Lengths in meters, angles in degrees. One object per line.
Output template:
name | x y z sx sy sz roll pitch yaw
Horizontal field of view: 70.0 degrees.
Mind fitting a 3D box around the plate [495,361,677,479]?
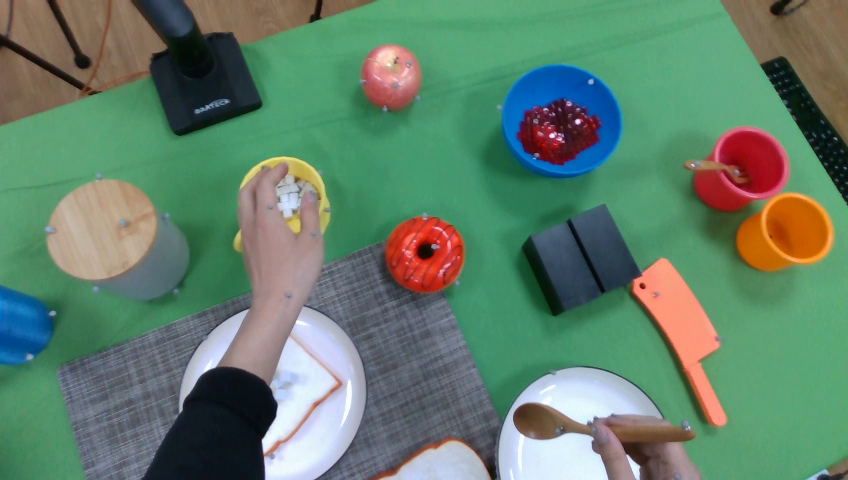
plate | 0.183 0.246 0.697 0.209 0.038 0.208 1 75 -3

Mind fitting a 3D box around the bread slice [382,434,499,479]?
bread slice | 0.021 0.275 0.651 0.134 0.018 0.106 -25 73 -31

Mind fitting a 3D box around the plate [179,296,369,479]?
plate | -0.167 0.169 0.691 0.208 0.039 0.206 1 75 -3

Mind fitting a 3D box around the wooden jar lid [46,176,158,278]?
wooden jar lid | -0.328 -0.012 0.623 0.108 0.021 0.107 1 73 -2

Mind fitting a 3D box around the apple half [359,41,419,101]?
apple half | -0.039 -0.225 0.794 0.080 0.075 0.053 32 70 9

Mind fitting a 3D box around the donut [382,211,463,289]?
donut | -0.001 0.012 0.742 0.099 0.048 0.098 1 74 -3

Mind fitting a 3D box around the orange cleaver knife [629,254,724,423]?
orange cleaver knife | 0.327 0.118 0.753 0.077 0.012 0.210 -20 75 -16

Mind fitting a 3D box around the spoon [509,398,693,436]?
spoon | 0.146 0.160 0.530 0.021 0.193 0.042 -28 96 -33

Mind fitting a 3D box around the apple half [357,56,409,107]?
apple half | -0.060 -0.194 0.782 0.081 0.081 0.032 32 70 6

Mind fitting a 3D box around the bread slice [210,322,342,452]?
bread slice | -0.175 0.174 0.691 0.104 0.019 0.131 40 75 7

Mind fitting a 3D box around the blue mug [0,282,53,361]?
blue mug | -0.486 0.098 0.657 0.082 0.106 0.116 40 76 8

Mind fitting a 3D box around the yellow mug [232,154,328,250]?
yellow mug | -0.181 -0.036 0.736 0.099 0.064 0.130 42 77 9

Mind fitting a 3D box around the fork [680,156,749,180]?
fork | 0.360 -0.091 0.746 0.208 0.018 0.028 -1 69 -48

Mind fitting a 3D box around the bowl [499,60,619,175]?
bowl | 0.165 -0.145 0.782 0.151 0.077 0.150 1 75 -3

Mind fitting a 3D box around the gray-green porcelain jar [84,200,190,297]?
gray-green porcelain jar | -0.331 0.005 0.683 0.106 0.127 0.105 1 74 -3
